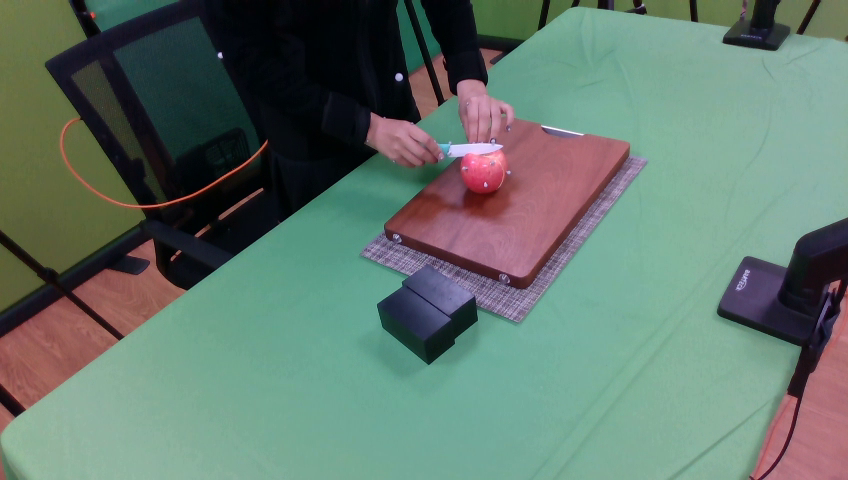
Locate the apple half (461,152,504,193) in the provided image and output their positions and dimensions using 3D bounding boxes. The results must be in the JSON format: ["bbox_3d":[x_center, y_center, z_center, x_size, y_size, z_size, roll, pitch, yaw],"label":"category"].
[{"bbox_3d":[0.092,-0.105,1.004,0.081,0.081,0.033,11,40,22],"label":"apple half"}]

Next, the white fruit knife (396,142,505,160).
[{"bbox_3d":[0.040,-0.152,1.015,0.206,0.027,0.016,0,36,28],"label":"white fruit knife"}]

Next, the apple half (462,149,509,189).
[{"bbox_3d":[0.109,-0.128,1.031,0.080,0.075,0.053,7,38,25],"label":"apple half"}]
